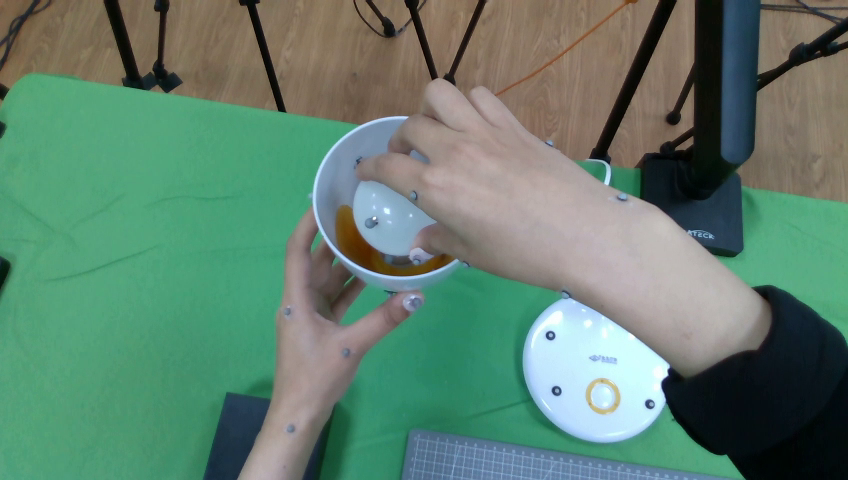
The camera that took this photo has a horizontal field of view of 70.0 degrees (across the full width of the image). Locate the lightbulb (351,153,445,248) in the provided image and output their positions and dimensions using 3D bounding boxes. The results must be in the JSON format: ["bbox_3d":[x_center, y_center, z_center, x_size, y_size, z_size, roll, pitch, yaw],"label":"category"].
[{"bbox_3d":[-0.017,-0.019,0.405,0.059,0.108,0.059,1,77,-3],"label":"lightbulb"}]

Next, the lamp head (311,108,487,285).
[{"bbox_3d":[-0.012,-0.017,0.430,0.112,0.123,0.111,-1,73,3],"label":"lamp head"}]

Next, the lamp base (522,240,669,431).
[{"bbox_3d":[0.187,0.086,0.595,0.161,0.181,0.177,-4,66,-4],"label":"lamp base"}]
